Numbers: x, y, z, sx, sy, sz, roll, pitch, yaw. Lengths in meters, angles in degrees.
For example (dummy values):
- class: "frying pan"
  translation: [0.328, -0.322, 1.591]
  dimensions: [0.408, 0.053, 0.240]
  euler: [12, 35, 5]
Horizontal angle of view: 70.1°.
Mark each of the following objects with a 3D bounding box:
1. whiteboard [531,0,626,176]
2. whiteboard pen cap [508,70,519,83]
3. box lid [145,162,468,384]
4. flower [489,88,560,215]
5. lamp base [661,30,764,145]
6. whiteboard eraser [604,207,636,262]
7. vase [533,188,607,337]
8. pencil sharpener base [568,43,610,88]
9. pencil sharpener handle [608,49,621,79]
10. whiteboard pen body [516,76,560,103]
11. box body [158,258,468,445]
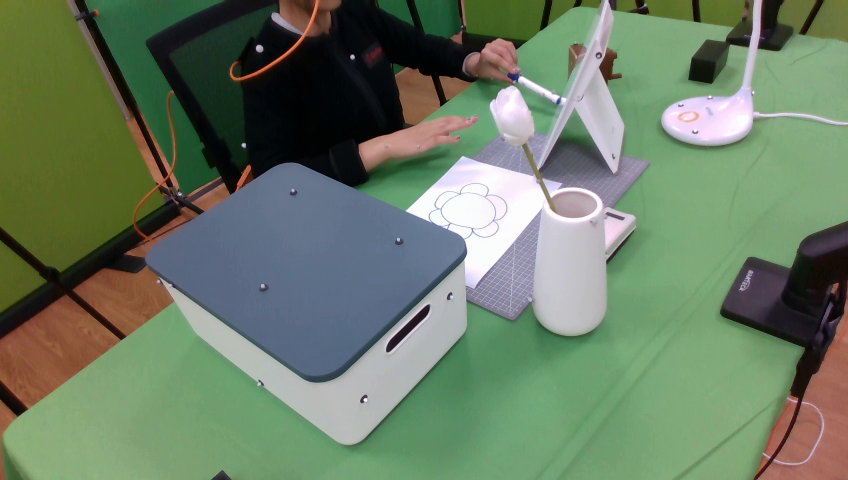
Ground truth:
- class: "whiteboard"
  translation: [0.320, -0.259, 1.050]
  dimensions: [0.144, 0.306, 0.217]
  euler: [22, 45, 6]
- class: "whiteboard pen cap"
  translation: [0.197, -0.353, 1.311]
  dimensions: [0.018, 0.018, 0.033]
  euler: [-32, 63, -25]
- class: "box lid"
  translation: [-0.157, 0.014, 0.769]
  dimensions: [0.368, 0.015, 0.264]
  euler: [25, 51, 33]
- class: "flower"
  translation: [0.158, -0.027, 0.720]
  dimensions: [0.038, 0.364, 0.044]
  euler: [-14, 44, 23]
- class: "lamp base"
  translation: [0.535, -0.287, 1.096]
  dimensions: [0.179, 0.181, 0.159]
  euler: [-10, 40, -4]
- class: "whiteboard eraser"
  translation: [0.272, -0.003, 0.919]
  dimensions: [0.055, 0.042, 0.113]
  euler: [27, 51, 32]
- class: "vase"
  translation: [0.187, 0.033, 0.771]
  dimensions: [0.098, 0.201, 0.097]
  euler: [-6, 41, 6]
- class: "pencil sharpener base"
  translation: [0.345, -0.352, 1.263]
  dimensions: [0.077, 0.107, 0.061]
  euler: [-9, 40, 1]
- class: "pencil sharpener handle"
  translation: [0.394, -0.368, 1.253]
  dimensions: [0.030, 0.068, 0.036]
  euler: [-8, 32, 1]
- class: "whiteboard pen body"
  translation: [0.236, -0.322, 1.277]
  dimensions: [0.017, 0.017, 0.139]
  euler: [-34, 55, -26]
- class: "box body"
  translation: [-0.147, 0.072, 0.816]
  dimensions: [0.361, 0.161, 0.255]
  euler: [24, 50, 33]
